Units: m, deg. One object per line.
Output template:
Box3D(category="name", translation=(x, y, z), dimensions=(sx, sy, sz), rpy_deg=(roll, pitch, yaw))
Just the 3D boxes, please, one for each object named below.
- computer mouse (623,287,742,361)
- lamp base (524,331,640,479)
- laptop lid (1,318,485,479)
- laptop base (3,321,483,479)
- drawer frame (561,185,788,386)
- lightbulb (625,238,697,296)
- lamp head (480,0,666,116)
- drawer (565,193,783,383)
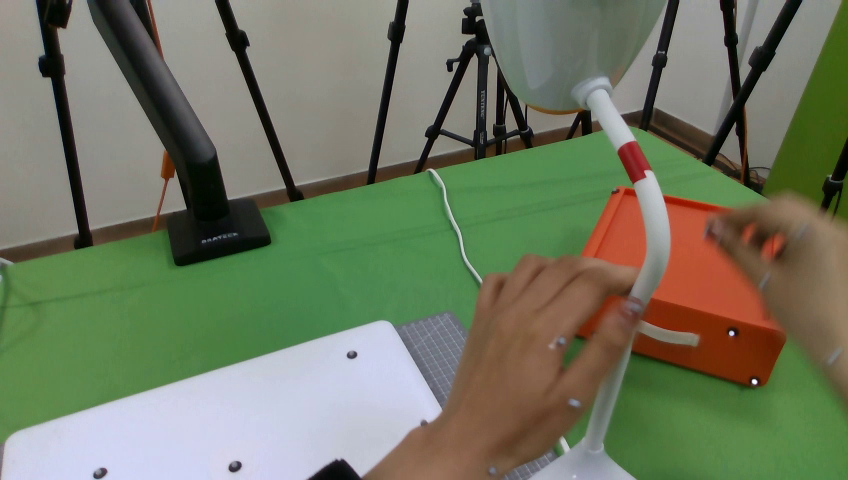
Box3D(category="computer mouse", translation=(0.265, 0.083, 0.622), dimensions=(0.117, 0.041, 0.062), rpy_deg=(14, 36, 13))
Box3D(category="lamp base", translation=(0.122, 0.163, 0.394), dimensions=(0.161, 0.181, 0.177), rpy_deg=(-3, 32, -5))
Box3D(category="laptop lid", translation=(-0.150, 0.185, 0.494), dimensions=(0.357, 0.013, 0.239), rpy_deg=(-14, 39, -18))
Box3D(category="laptop base", translation=(-0.150, 0.193, 0.502), dimensions=(0.355, 0.023, 0.232), rpy_deg=(-15, 40, -20))
Box3D(category="drawer frame", translation=(0.278, 0.035, 0.667), dimensions=(0.200, 0.083, 0.213), rpy_deg=(14, 36, 22))
Box3D(category="lightbulb", translation=(0.270, 0.035, 0.683), dimensions=(0.059, 0.060, 0.107), rpy_deg=(-8, 19, -9))
Box3D(category="lamp head", translation=(0.084, -0.131, 0.346), dimensions=(0.112, 0.124, 0.111), rpy_deg=(-4, 49, 5))
Box3D(category="drawer", translation=(0.279, 0.038, 0.664), dimensions=(0.193, 0.074, 0.211), rpy_deg=(14, 37, 22))
